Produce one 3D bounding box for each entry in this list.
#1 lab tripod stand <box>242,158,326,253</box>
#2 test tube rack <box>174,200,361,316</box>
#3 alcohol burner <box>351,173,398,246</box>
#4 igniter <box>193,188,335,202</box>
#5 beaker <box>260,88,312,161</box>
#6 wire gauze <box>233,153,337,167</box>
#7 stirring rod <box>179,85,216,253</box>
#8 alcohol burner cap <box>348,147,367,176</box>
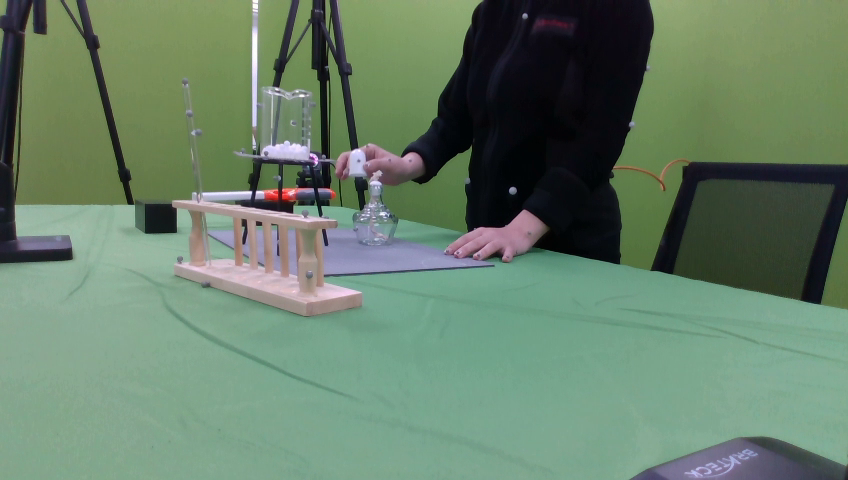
[{"bbox_3d":[-0.207,-0.054,0.895,0.148,0.131,0.148,3,5,0],"label":"lab tripod stand"},{"bbox_3d":[-0.169,0.009,0.622,0.241,0.085,0.067,9,9,41],"label":"test tube rack"},{"bbox_3d":[-0.081,-0.051,0.995,0.078,0.119,0.078,1,6,0],"label":"alcohol burner"},{"bbox_3d":[-0.312,-0.089,1.209,0.278,0.025,0.057,-5,13,-31],"label":"igniter"},{"bbox_3d":[-0.200,-0.166,0.876,0.074,0.100,0.083,1,7,-18],"label":"beaker"},{"bbox_3d":[-0.205,-0.119,0.887,0.122,0.011,0.124,2,4,-32],"label":"wire gauze"},{"bbox_3d":[-0.237,-0.073,0.634,0.006,0.176,0.014,0,10,42],"label":"stirring rod"},{"bbox_3d":[-0.113,-0.135,1.031,0.034,0.048,0.034,-3,-5,0],"label":"alcohol burner cap"}]
